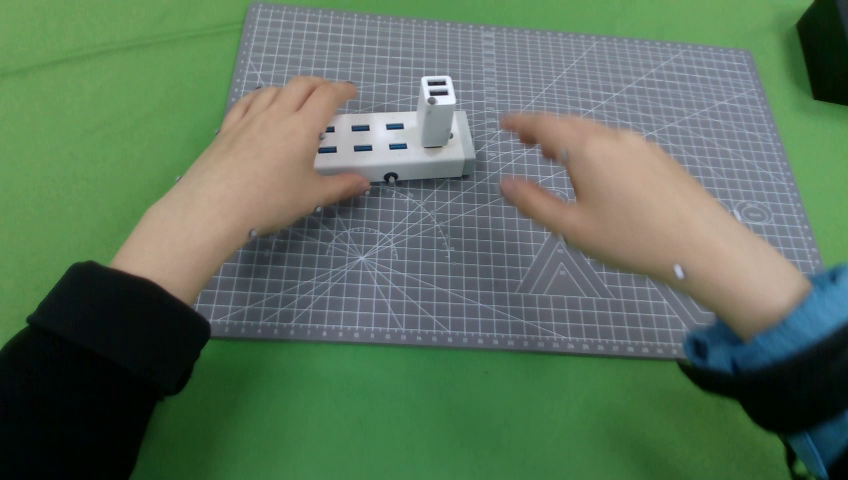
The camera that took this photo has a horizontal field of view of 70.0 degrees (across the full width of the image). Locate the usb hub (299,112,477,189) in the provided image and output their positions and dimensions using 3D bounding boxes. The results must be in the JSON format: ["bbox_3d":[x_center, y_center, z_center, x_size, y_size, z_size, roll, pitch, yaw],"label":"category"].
[{"bbox_3d":[-0.027,-0.068,0.444,0.125,0.025,0.049,-4,62,-10],"label":"usb hub"}]

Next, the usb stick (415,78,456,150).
[{"bbox_3d":[0.007,-0.083,0.421,0.021,0.059,0.027,-5,59,-10],"label":"usb stick"}]
